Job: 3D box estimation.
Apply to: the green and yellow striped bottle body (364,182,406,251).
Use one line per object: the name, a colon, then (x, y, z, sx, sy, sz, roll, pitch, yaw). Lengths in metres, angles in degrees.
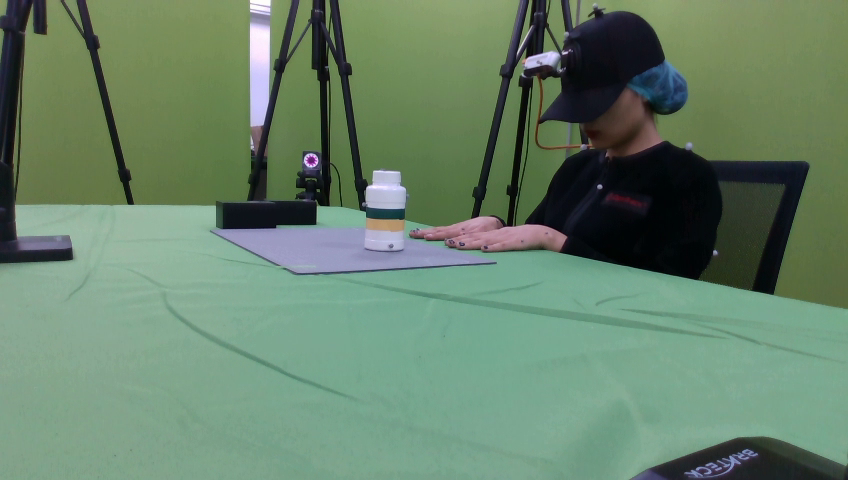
green and yellow striped bottle body: (-0.060, -0.045, 0.935, 0.063, 0.119, 0.063, 3, 8, 0)

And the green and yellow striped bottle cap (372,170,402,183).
green and yellow striped bottle cap: (-0.057, -0.097, 0.929, 0.045, 0.020, 0.045, 1, 9, 0)
